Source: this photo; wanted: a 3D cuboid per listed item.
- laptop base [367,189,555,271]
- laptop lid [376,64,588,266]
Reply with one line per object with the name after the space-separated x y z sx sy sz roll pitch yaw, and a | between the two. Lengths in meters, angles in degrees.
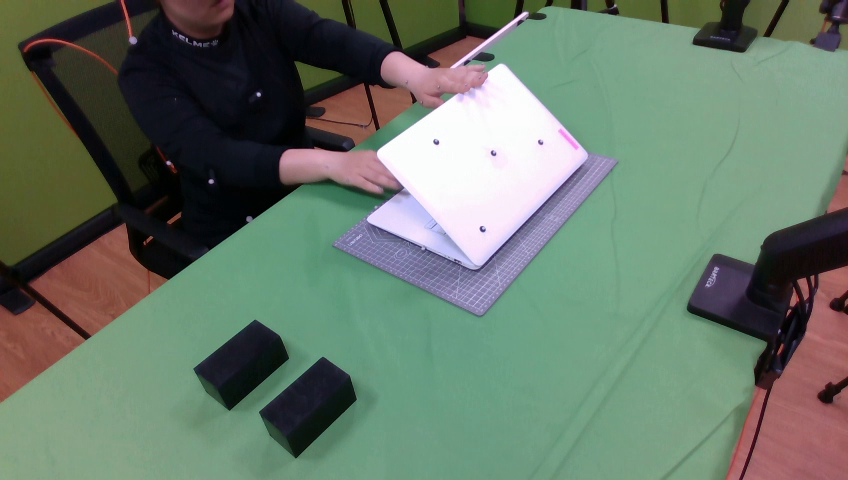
0.099 -0.085 1.058 0.233 0.023 0.355 21 48 34 | laptop base
0.111 -0.140 0.990 0.241 0.013 0.358 49 56 2 | laptop lid
